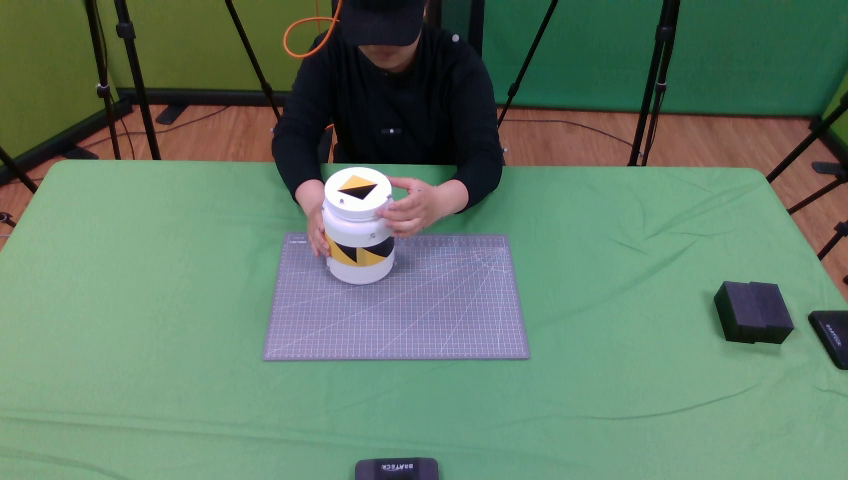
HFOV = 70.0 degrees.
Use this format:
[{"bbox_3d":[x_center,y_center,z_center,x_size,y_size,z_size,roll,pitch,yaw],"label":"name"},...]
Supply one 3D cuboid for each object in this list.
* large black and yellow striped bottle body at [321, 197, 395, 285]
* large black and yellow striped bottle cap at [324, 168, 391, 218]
[{"bbox_3d":[-0.118,-0.023,1.096,0.131,0.185,0.130,2,46,-2],"label":"large black and yellow striped bottle body"},{"bbox_3d":[-0.114,-0.082,1.033,0.115,0.019,0.114,3,45,-2],"label":"large black and yellow striped bottle cap"}]
